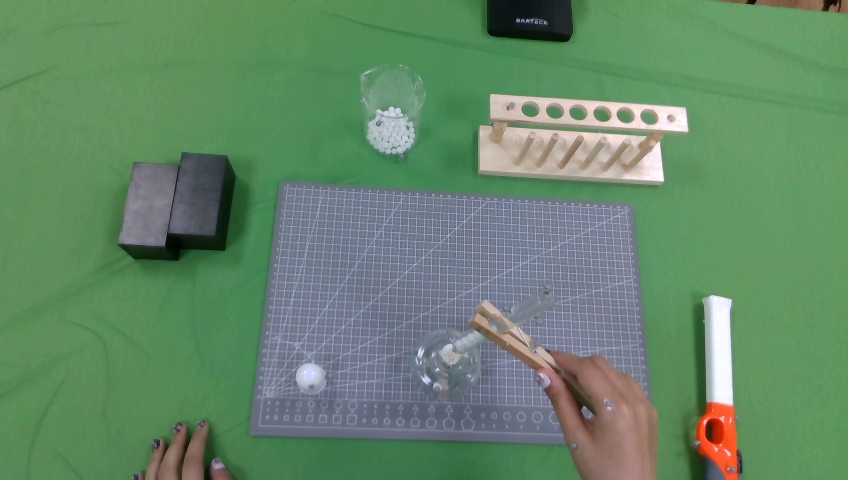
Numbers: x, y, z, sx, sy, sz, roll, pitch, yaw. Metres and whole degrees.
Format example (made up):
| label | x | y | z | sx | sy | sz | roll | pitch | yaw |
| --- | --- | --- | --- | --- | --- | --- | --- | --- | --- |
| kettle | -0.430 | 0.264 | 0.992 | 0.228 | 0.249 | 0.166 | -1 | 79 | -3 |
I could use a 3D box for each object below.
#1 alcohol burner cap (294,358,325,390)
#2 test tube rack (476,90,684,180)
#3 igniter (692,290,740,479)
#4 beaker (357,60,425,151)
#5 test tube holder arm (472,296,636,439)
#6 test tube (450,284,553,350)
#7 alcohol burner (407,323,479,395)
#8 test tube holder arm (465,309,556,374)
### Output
| label | x | y | z | sx | sy | sz | roll | pitch | yaw |
| --- | --- | --- | --- | --- | --- | --- | --- | --- | --- |
| alcohol burner cap | -0.125 | 0.143 | 0.655 | 0.034 | 0.048 | 0.033 | 2 | 71 | -5 |
| test tube rack | 0.192 | -0.129 | 0.762 | 0.243 | 0.085 | 0.066 | 3 | 71 | -5 |
| igniter | 0.335 | 0.192 | 0.698 | 0.057 | 0.025 | 0.275 | 13 | 70 | -12 |
| beaker | -0.044 | -0.161 | 0.741 | 0.084 | 0.101 | 0.074 | 30 | 70 | 6 |
| test tube holder arm | 0.111 | 0.109 | 0.513 | 0.179 | 0.015 | 0.013 | 40 | 60 | -5 |
| test tube | 0.059 | 0.067 | 0.502 | 0.017 | 0.150 | 0.017 | 10 | 63 | -21 |
| alcohol burner | 0.022 | 0.122 | 0.640 | 0.078 | 0.119 | 0.077 | 2 | 69 | -6 |
| test tube holder arm | 0.073 | 0.086 | 0.505 | 0.088 | 0.015 | 0.010 | 33 | 60 | -9 |
